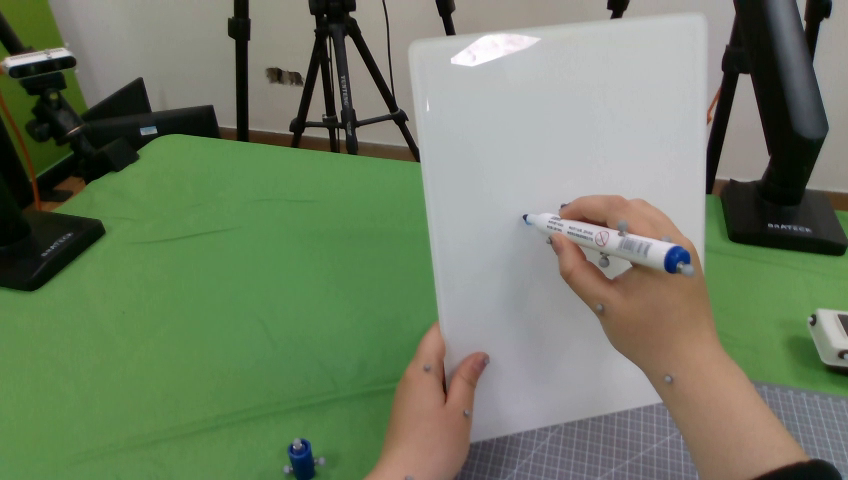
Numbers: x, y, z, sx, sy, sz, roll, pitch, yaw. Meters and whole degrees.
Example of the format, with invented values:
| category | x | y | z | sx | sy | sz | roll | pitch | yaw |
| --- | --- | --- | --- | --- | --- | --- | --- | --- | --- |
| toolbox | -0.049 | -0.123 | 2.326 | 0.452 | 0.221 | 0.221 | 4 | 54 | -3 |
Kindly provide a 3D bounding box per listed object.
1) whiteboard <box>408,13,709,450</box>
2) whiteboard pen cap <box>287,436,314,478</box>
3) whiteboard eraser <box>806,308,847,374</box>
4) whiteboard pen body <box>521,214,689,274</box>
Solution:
| category | x | y | z | sx | sy | sz | roll | pitch | yaw |
| --- | --- | --- | --- | --- | --- | --- | --- | --- | --- |
| whiteboard | 0.099 | -0.015 | 0.512 | 0.217 | 0.307 | 0.143 | -9 | 16 | -8 |
| whiteboard pen cap | -0.092 | 0.163 | 0.454 | 0.018 | 0.033 | 0.018 | 0 | 36 | 1 |
| whiteboard eraser | 0.399 | 0.093 | 0.524 | 0.112 | 0.042 | 0.055 | 7 | 39 | 11 |
| whiteboard pen body | 0.102 | -0.002 | 0.375 | 0.017 | 0.017 | 0.139 | -20 | 20 | -23 |
